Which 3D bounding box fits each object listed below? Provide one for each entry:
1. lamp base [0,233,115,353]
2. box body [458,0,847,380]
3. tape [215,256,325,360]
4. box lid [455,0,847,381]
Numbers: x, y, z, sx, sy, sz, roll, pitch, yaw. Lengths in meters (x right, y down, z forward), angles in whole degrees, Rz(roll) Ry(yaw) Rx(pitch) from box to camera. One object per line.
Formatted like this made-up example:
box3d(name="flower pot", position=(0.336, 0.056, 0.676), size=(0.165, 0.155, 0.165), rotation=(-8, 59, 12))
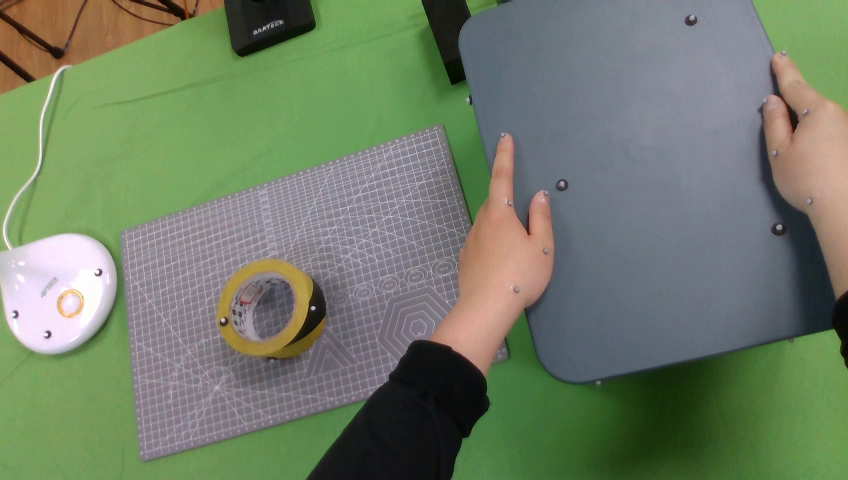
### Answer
box3d(name="lamp base", position=(-0.503, 0.041, 0.719), size=(0.178, 0.182, 0.160), rotation=(22, 79, 21))
box3d(name="box body", position=(0.201, -0.060, 0.596), size=(0.254, 0.161, 0.361), rotation=(-15, 71, 8))
box3d(name="tape", position=(-0.178, 0.079, 0.699), size=(0.116, 0.053, 0.116), rotation=(-3, 73, 11))
box3d(name="box lid", position=(0.185, -0.083, 0.528), size=(0.263, 0.015, 0.369), rotation=(-15, 72, 8))
